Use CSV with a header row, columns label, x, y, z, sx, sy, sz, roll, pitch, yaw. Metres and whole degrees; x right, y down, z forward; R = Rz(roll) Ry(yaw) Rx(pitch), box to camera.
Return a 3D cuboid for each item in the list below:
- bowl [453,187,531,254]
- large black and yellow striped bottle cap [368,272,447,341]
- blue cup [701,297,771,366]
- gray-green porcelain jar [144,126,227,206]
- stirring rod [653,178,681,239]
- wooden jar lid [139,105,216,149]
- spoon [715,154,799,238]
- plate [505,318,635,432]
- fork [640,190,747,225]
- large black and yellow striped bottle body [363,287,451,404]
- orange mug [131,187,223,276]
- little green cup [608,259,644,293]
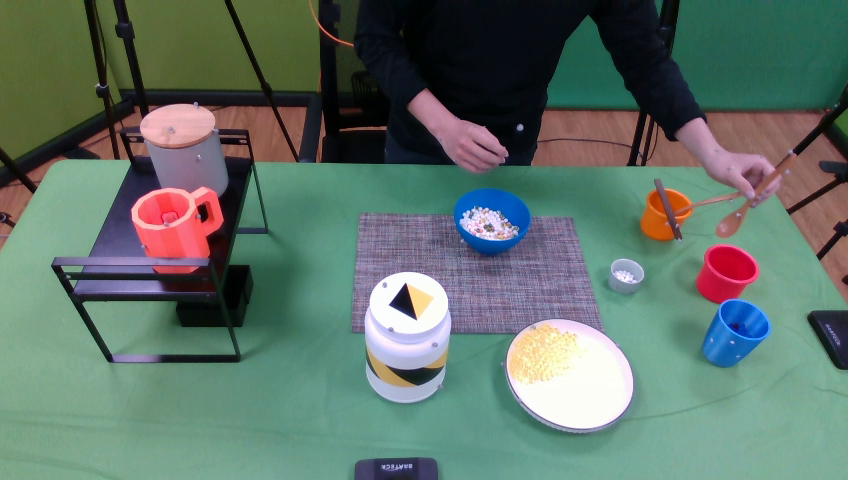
label,x,y,z,sx,sy,sz,roll,pitch,yaw
bowl,0.128,-0.026,1.187,0.151,0.077,0.150,2,46,-2
large black and yellow striped bottle cap,-0.023,0.093,0.875,0.115,0.019,0.114,3,46,-3
blue cup,0.519,0.162,1.025,0.093,0.101,0.092,3,45,-3
gray-green porcelain jar,-0.375,-0.126,0.967,0.106,0.127,0.105,2,46,-2
stirring rod,0.482,-0.065,1.204,0.014,0.006,0.175,5,46,-4
wooden jar lid,-0.372,-0.169,0.920,0.108,0.021,0.107,4,44,-4
spoon,0.562,-0.071,1.029,0.022,0.194,0.041,9,47,-12
plate,0.235,0.221,0.991,0.209,0.038,0.208,2,46,-2
fork,0.533,-0.065,1.211,0.207,0.019,0.028,-22,28,39
large black and yellow striped bottle body,-0.027,0.153,0.935,0.131,0.185,0.130,2,46,-2
orange mug,-0.354,-0.022,0.888,0.083,0.101,0.126,31,55,24
little green cup,0.379,0.070,1.147,0.061,0.039,0.061,3,45,-3
